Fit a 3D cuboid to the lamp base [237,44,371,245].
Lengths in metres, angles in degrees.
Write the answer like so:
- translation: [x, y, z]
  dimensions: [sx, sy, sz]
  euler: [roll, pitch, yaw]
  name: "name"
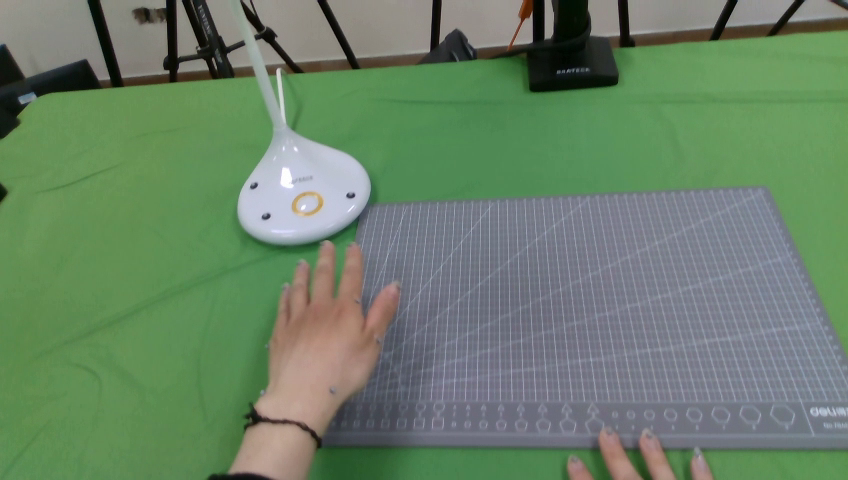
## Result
- translation: [-0.159, -0.114, 0.678]
  dimensions: [0.161, 0.182, 0.177]
  euler: [-23, 44, -13]
  name: "lamp base"
